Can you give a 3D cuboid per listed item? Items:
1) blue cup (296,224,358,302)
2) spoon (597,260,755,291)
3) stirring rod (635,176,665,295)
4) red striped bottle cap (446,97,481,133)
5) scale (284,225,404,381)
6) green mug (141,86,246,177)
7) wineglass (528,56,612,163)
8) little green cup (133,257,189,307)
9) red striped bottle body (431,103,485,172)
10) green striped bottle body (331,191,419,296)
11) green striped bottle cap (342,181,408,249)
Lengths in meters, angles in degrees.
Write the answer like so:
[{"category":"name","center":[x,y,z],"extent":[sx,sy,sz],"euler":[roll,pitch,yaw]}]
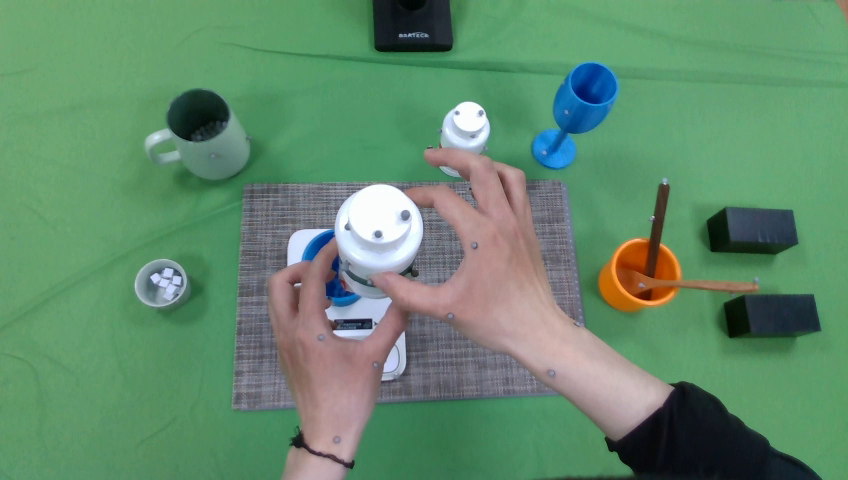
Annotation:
[{"category":"blue cup","center":[-0.105,0.036,0.724],"extent":[0.093,0.100,0.092],"euler":[2,75,-6]},{"category":"spoon","center":[0.313,0.048,0.771],"extent":[0.022,0.192,0.041],"euler":[23,74,-44]},{"category":"stirring rod","center":[0.292,-0.001,0.785],"extent":[0.014,0.177,0.006],"euler":[2,31,9]},{"category":"red striped bottle cap","center":[0.050,-0.160,0.771],"extent":[0.044,0.018,0.044],"euler":[2,69,-4]},{"category":"scale","center":[-0.104,0.076,0.780],"extent":[0.149,0.032,0.199],"euler":[-2,73,-6]},{"category":"green mug","center":[-0.304,-0.134,0.794],"extent":[0.125,0.105,0.092],"euler":[-23,76,-12]},{"category":"wineglass","center":[0.192,-0.170,0.816],"extent":[0.074,0.173,0.073],"euler":[1,72,-4]},{"category":"little green cup","center":[-0.329,0.055,0.766],"extent":[0.061,0.039,0.061],"euler":[2,72,-6]},{"category":"red striped bottle body","center":[0.046,-0.144,0.822],"extent":[0.063,0.120,0.062],"euler":[2,72,-5]},{"category":"green striped bottle body","center":[-0.037,0.000,0.458],"extent":[0.063,0.120,0.063],"euler":[2,72,-5]},{"category":"green striped bottle cap","center":[-0.033,-0.018,0.409],"extent":[0.044,0.020,0.044],"euler":[2,72,-6]}]
